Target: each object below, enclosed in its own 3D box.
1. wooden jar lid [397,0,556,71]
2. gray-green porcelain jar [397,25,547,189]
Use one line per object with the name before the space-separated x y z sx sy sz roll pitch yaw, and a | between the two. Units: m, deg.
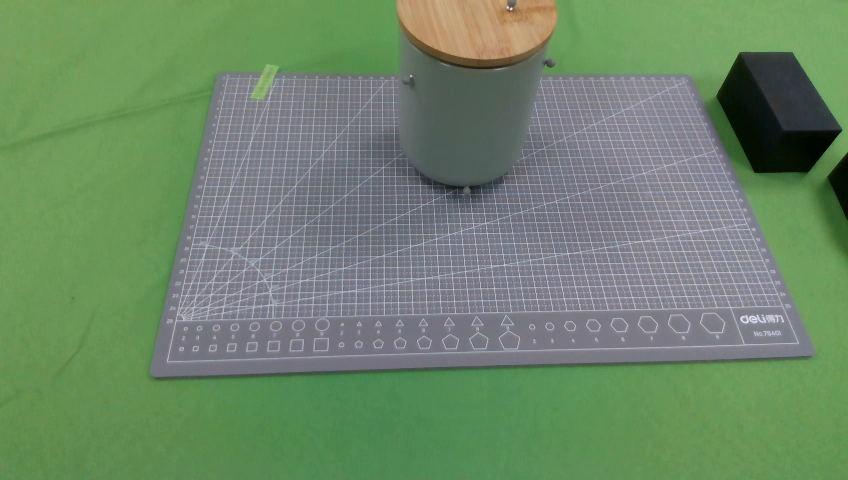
wooden jar lid | 0.035 -0.150 0.416 0.108 0.021 0.107 1 56 -2
gray-green porcelain jar | 0.032 -0.110 0.467 0.106 0.127 0.105 2 54 -2
